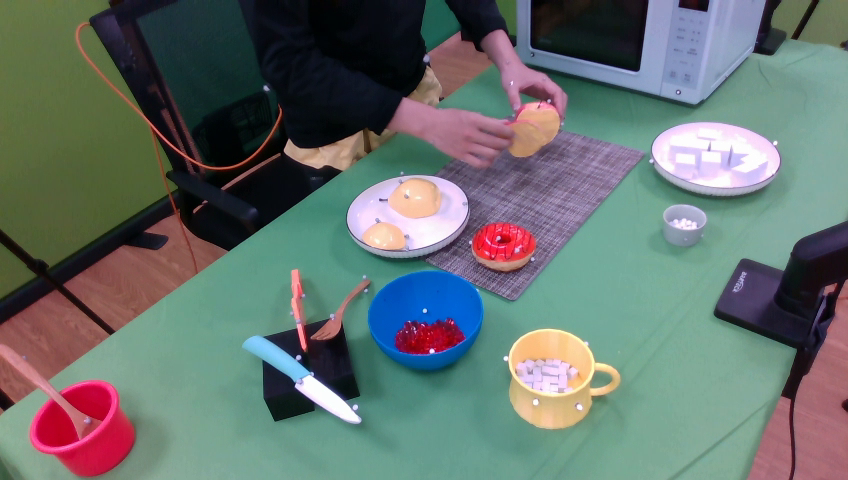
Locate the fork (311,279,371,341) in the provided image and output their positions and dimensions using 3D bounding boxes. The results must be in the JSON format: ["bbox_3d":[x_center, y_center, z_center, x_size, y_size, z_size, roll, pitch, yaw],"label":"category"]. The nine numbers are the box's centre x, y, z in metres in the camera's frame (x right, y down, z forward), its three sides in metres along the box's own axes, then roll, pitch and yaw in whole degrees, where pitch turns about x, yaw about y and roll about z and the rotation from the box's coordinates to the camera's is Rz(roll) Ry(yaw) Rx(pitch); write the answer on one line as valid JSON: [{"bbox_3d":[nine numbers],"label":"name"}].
[{"bbox_3d":[-0.108,0.092,0.832,0.028,0.019,0.207,-6,19,15],"label":"fork"}]

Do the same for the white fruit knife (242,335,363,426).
[{"bbox_3d":[-0.148,0.167,0.730,0.206,0.016,0.027,26,80,31],"label":"white fruit knife"}]

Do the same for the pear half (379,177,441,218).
[{"bbox_3d":[-0.029,-0.079,1.033,0.109,0.056,0.076,-3,35,16],"label":"pear half"}]

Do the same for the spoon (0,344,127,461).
[{"bbox_3d":[-0.433,0.191,0.721,0.194,0.021,0.042,47,52,-6],"label":"spoon"}]

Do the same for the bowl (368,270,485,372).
[{"bbox_3d":[0.007,0.118,0.791,0.151,0.077,0.150,-5,40,4],"label":"bowl"}]

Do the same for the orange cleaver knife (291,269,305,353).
[{"bbox_3d":[-0.175,0.094,0.844,0.012,0.077,0.210,-11,15,-10],"label":"orange cleaver knife"}]

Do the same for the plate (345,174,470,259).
[{"bbox_3d":[-0.026,-0.036,1.003,0.209,0.038,0.208,-4,40,4],"label":"plate"}]

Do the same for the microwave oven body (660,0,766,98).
[{"bbox_3d":[0.472,-0.513,1.317,0.438,0.261,0.327,26,51,34],"label":"microwave oven body"}]

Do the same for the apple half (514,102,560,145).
[{"bbox_3d":[0.203,-0.214,1.094,0.081,0.075,0.053,-3,32,3],"label":"apple half"}]

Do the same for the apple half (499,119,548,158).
[{"bbox_3d":[0.168,-0.177,1.007,0.081,0.082,0.032,1,52,10],"label":"apple half"}]

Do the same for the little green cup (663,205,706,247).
[{"bbox_3d":[0.396,-0.021,0.926,0.061,0.039,0.061,-4,40,4],"label":"little green cup"}]

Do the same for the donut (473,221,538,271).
[{"bbox_3d":[0.123,0.008,0.923,0.099,0.048,0.098,-3,38,3],"label":"donut"}]

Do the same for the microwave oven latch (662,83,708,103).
[{"bbox_3d":[0.518,-0.296,1.204,0.078,0.029,0.030,28,52,35],"label":"microwave oven latch"}]

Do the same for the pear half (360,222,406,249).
[{"bbox_3d":[-0.064,-0.013,0.959,0.071,0.031,0.087,5,24,-22],"label":"pear half"}]

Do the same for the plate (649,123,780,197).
[{"bbox_3d":[0.497,-0.135,1.046,0.207,0.039,0.206,-4,40,4],"label":"plate"}]

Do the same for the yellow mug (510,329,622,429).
[{"bbox_3d":[0.168,0.164,0.721,0.130,0.064,0.099,0,40,8],"label":"yellow mug"}]

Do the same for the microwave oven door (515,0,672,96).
[{"bbox_3d":[0.343,-0.455,1.259,0.353,0.245,0.039,26,51,33],"label":"microwave oven door"}]
